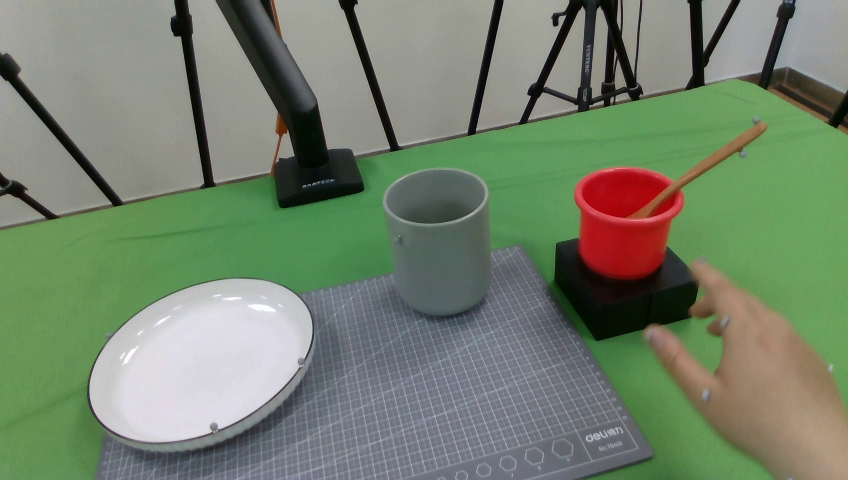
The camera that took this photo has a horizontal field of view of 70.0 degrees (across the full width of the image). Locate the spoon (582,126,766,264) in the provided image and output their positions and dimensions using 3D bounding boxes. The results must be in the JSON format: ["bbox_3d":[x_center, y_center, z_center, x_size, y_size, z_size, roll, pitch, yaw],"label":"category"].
[{"bbox_3d":[0.228,-0.039,0.563,0.194,0.022,0.041,-44,30,25],"label":"spoon"}]

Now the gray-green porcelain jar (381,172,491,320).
[{"bbox_3d":[0.016,0.010,0.623,0.106,0.127,0.105,-4,37,3],"label":"gray-green porcelain jar"}]

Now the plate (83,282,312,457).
[{"bbox_3d":[-0.209,0.121,0.581,0.207,0.039,0.205,-4,36,3],"label":"plate"}]
